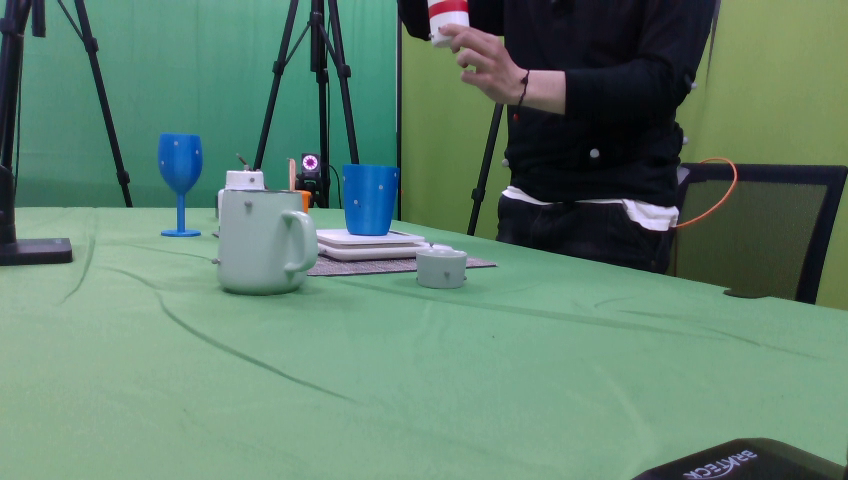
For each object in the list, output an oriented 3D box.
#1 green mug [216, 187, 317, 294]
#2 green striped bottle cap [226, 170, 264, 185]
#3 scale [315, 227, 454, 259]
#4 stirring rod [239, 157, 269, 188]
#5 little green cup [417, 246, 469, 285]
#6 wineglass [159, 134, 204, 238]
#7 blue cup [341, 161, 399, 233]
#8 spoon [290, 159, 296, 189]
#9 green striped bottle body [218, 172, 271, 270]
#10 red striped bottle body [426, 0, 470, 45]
[{"bbox_3d":[-0.157,0.000,0.629,0.124,0.105,0.093,7,9,37],"label":"green mug"},{"bbox_3d":[-0.222,-0.076,0.748,0.044,0.020,0.044,0,7,0],"label":"green striped bottle cap"},{"bbox_3d":[-0.066,0.001,0.906,0.202,0.031,0.148,-2,8,-31],"label":"scale"},{"bbox_3d":[-0.309,-0.098,1.209,0.006,0.177,0.014,-39,29,-4],"label":"stirring rod"},{"bbox_3d":[0.021,0.029,0.701,0.061,0.038,0.061,1,6,0],"label":"little green cup"},{"bbox_3d":[-0.415,-0.093,1.040,0.074,0.172,0.073,2,7,0],"label":"wineglass"},{"bbox_3d":[-0.080,-0.062,0.883,0.093,0.100,0.092,2,4,0],"label":"blue cup"},{"bbox_3d":[-0.273,-0.102,1.252,0.042,0.193,0.021,7,-39,-17],"label":"spoon"},{"bbox_3d":[-0.223,-0.025,0.755,0.063,0.119,0.063,2,7,0],"label":"green striped bottle body"},{"bbox_3d":[0.034,-0.374,0.950,0.063,0.119,0.063,-8,5,1],"label":"red striped bottle body"}]
